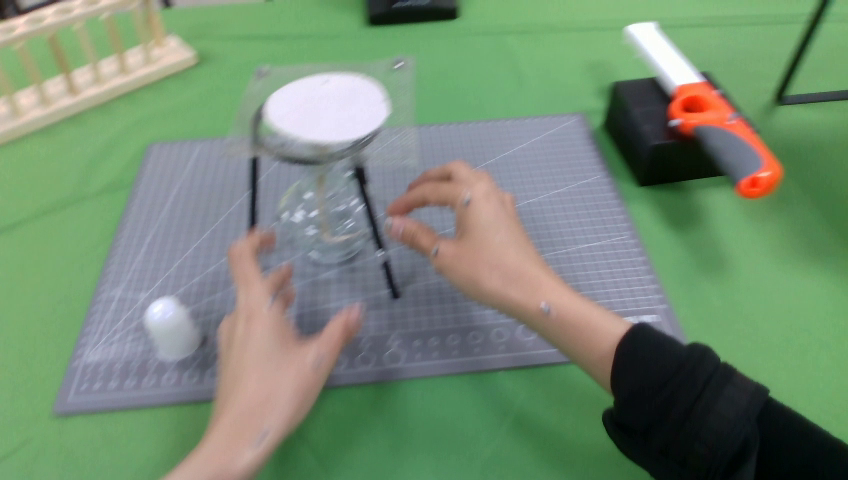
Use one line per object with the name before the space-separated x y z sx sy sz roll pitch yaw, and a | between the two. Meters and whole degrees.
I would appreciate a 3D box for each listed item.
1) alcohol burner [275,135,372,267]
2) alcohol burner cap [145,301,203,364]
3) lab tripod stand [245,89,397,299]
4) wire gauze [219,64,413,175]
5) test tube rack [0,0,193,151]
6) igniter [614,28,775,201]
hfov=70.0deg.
alcohol burner | -0.082 -0.035 0.480 0.078 0.120 0.077 -1 48 2
alcohol burner cap | -0.183 0.064 0.437 0.034 0.048 0.033 0 45 0
lab tripod stand | -0.074 -0.035 0.466 0.148 0.132 0.147 1 46 -1
wire gauze | -0.070 -0.087 0.423 0.125 0.011 0.120 -1 46 -2
test tube rack | -0.388 -0.187 0.656 0.242 0.086 0.066 -34 55 -27
igniter | 0.240 -0.128 0.561 0.057 0.025 0.273 -9 44 -3
